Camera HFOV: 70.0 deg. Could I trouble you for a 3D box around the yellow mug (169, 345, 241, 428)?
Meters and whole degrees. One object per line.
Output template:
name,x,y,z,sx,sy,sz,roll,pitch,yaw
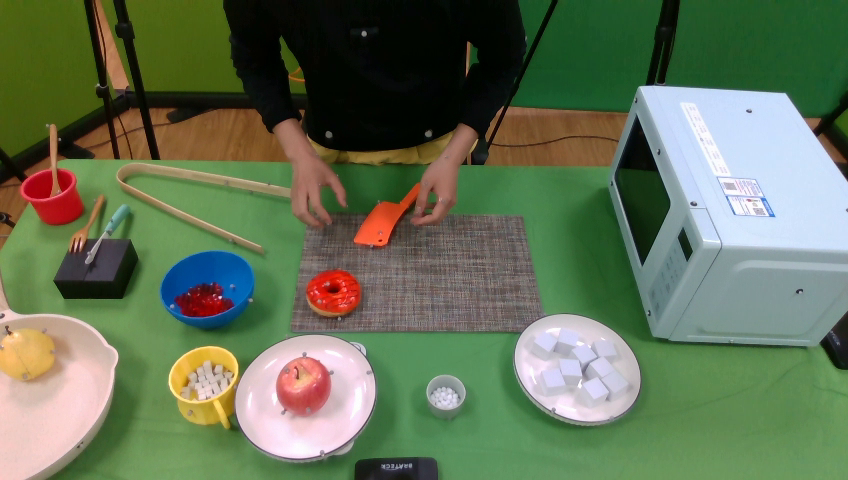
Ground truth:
yellow mug,-0.322,0.230,0.922,0.100,0.064,0.130,-24,53,-25

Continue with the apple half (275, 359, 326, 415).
apple half,-0.186,0.222,0.882,0.080,0.075,0.053,38,58,25

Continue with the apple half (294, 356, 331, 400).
apple half,-0.160,0.202,0.902,0.081,0.082,0.033,36,57,27

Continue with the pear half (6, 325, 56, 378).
pear half,-0.608,0.158,0.935,0.076,0.110,0.056,31,51,20

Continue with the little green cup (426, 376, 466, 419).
little green cup,0.033,0.248,0.950,0.061,0.039,0.061,2,46,-2

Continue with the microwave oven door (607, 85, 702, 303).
microwave oven door,0.423,-0.094,1.140,0.039,0.245,0.353,2,46,-1

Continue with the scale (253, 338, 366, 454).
scale,-0.175,0.236,0.951,0.149,0.032,0.199,4,46,0

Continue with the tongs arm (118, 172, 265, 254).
tongs arm,-0.473,-0.054,1.212,0.386,0.028,0.028,23,57,17

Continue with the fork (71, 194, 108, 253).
fork,-0.634,-0.036,1.158,0.028,0.019,0.206,-8,32,-8

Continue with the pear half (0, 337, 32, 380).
pear half,-0.631,0.184,0.921,0.070,0.088,0.031,29,49,19

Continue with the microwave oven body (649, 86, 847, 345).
microwave oven body,0.567,-0.053,1.118,0.326,0.261,0.439,2,45,-1

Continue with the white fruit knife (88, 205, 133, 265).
white fruit knife,-0.584,-0.013,1.129,0.016,0.027,0.206,0,31,-5

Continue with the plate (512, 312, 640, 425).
plate,0.246,0.213,0.999,0.208,0.039,0.206,2,46,-2

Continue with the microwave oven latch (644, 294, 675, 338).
microwave oven latch,0.410,0.133,1.062,0.030,0.029,0.078,2,45,-1

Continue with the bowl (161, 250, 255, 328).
bowl,-0.362,0.098,1.039,0.151,0.077,0.150,2,45,-2

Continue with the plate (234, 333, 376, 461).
plate,-0.174,0.235,0.907,0.209,0.038,0.208,2,46,-2

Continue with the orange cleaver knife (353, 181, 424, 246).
orange cleaver knife,-0.070,-0.059,1.246,0.077,0.012,0.210,18,50,21

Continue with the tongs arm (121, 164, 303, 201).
tongs arm,-0.444,-0.114,1.267,0.384,0.026,0.050,12,51,8

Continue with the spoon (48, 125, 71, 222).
spoon,-0.718,-0.131,1.188,0.041,0.021,0.193,-3,90,-7

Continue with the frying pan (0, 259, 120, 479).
frying pan,-0.647,0.164,0.936,0.307,0.103,0.485,-19,58,-22

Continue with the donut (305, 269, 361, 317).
donut,-0.160,0.094,1.075,0.099,0.048,0.098,3,46,-3
